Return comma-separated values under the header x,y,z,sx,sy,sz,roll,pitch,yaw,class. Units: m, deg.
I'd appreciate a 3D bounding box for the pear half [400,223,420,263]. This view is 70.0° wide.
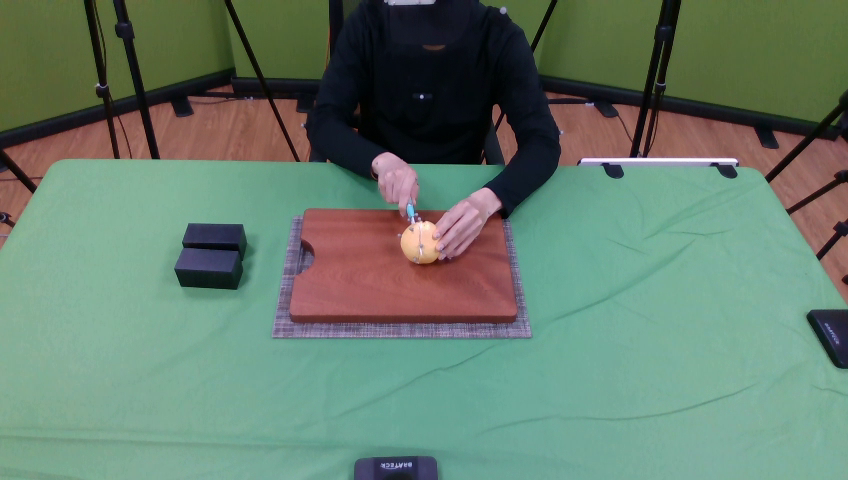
x,y,z,sx,sy,sz,roll,pitch,yaw,class
-0.027,0.003,1.104,0.031,0.088,0.070,-11,53,-12,pear half

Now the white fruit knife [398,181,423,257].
x,y,z,sx,sy,sz,roll,pitch,yaw,class
-0.024,-0.044,1.134,0.016,0.027,0.206,-6,46,-12,white fruit knife

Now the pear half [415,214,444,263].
x,y,z,sx,sy,sz,roll,pitch,yaw,class
0.010,-0.008,1.103,0.056,0.110,0.076,-9,52,-12,pear half
